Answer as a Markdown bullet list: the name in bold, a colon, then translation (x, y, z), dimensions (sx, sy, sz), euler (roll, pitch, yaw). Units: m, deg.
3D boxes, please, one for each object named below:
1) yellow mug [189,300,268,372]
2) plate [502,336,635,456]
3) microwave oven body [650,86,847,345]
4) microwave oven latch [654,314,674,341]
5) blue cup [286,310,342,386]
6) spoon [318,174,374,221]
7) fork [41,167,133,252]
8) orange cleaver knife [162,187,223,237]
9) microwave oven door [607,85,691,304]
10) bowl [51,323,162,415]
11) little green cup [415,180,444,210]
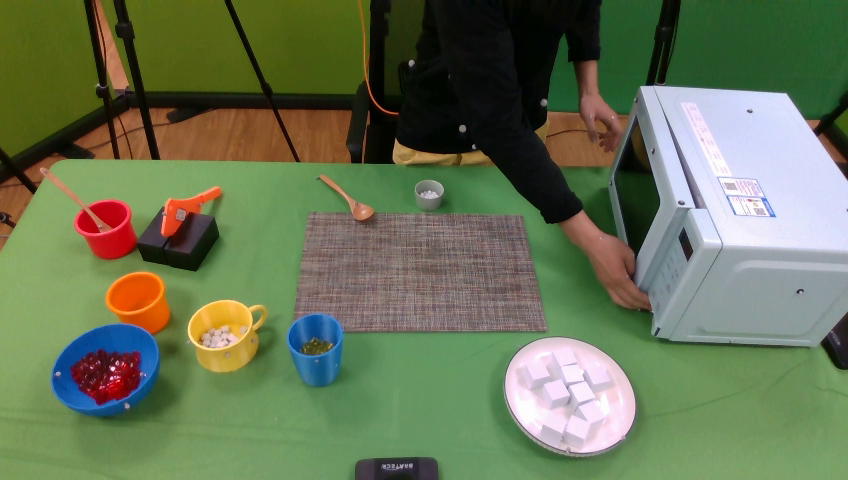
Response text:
- **yellow mug**: translation (-0.315, 0.149, 1.002), dimensions (0.131, 0.064, 0.099), euler (-32, 56, -31)
- **plate**: translation (0.226, 0.248, 0.963), dimensions (0.208, 0.039, 0.206), euler (2, 46, -2)
- **microwave oven body**: translation (0.568, -0.053, 1.118), dimensions (0.326, 0.261, 0.439), euler (2, 45, -1)
- **microwave oven latch**: translation (0.419, 0.137, 1.058), dimensions (0.030, 0.029, 0.079), euler (15, 46, 12)
- **blue cup**: translation (-0.169, 0.179, 0.958), dimensions (0.093, 0.101, 0.092), euler (1, 44, -1)
- **spoon**: translation (-0.168, -0.095, 1.274), dimensions (0.041, 0.022, 0.192), euler (-40, 57, -13)
- **fork**: translation (-0.623, -0.055, 1.121), dimensions (0.208, 0.018, 0.028), euler (50, 51, -15)
- **orange cleaver knife**: translation (-0.448, -0.058, 1.181), dimensions (0.012, 0.077, 0.211), euler (13, 17, 6)
- **microwave oven door**: translation (0.414, -0.095, 1.141), dimensions (0.039, 0.245, 0.353), euler (5, 46, 1)
- **bowl**: translation (-0.472, 0.209, 0.924), dimensions (0.151, 0.077, 0.150), euler (3, 45, -2)
- **little green cup**: translation (0.011, -0.094, 1.278), dimensions (0.061, 0.039, 0.061), euler (2, 48, -2)
